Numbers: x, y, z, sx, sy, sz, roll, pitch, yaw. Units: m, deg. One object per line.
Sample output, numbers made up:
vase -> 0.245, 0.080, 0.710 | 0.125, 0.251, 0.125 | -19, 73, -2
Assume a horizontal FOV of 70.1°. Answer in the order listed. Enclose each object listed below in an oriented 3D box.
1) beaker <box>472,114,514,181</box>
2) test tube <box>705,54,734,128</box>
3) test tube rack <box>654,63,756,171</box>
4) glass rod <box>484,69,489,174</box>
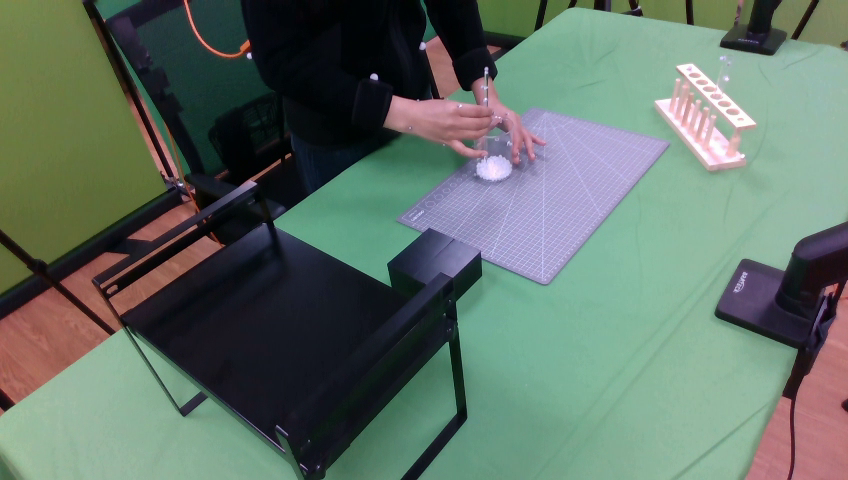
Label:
beaker -> 0.127, -0.165, 1.084 | 0.073, 0.101, 0.084 | 15, 45, 24
test tube -> 0.523, -0.260, 1.073 | 0.017, 0.151, 0.017 | -4, 46, 5
test tube rack -> 0.510, -0.233, 1.120 | 0.067, 0.085, 0.241 | -8, 41, -1
glass rod -> 0.107, -0.200, 1.044 | 0.008, 0.200, 0.008 | -2, 39, 2
